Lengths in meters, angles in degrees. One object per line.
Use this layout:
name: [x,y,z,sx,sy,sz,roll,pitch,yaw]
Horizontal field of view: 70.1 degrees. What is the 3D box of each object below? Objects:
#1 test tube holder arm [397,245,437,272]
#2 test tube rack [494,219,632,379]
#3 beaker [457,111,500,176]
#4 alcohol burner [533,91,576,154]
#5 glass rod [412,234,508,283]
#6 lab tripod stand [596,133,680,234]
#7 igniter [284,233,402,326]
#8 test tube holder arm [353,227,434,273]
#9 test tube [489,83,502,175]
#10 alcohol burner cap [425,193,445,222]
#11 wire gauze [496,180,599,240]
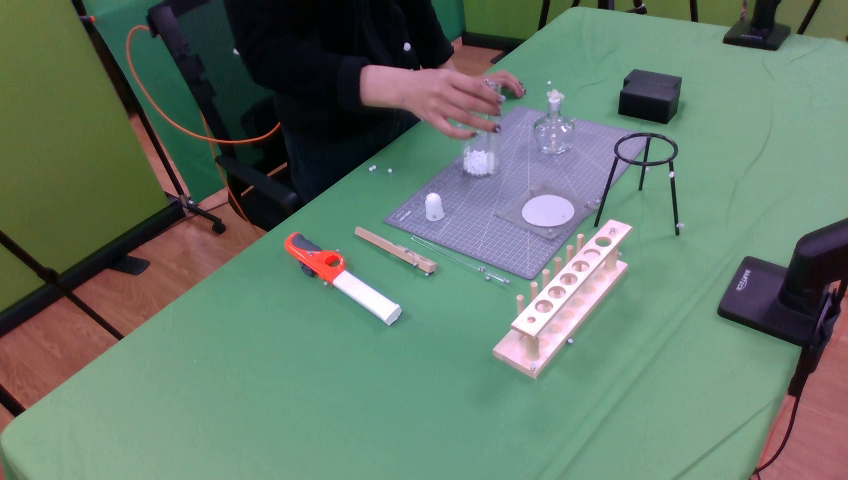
test tube holder arm: [-0.016,0.029,0.957,0.087,0.015,0.010,25,17,35]
test tube rack: [0.191,0.068,0.818,0.066,0.085,0.243,25,51,35]
beaker: [0.104,-0.175,1.108,0.073,0.101,0.084,16,45,27]
alcohol burner: [0.243,-0.222,1.124,0.078,0.119,0.077,-4,39,4]
glass rod: [0.052,0.027,0.951,0.198,0.008,0.008,26,52,37]
lab tripod stand: [0.338,-0.090,0.940,0.148,0.132,0.147,-7,39,6]
igniter: [-0.136,0.054,0.942,0.274,0.025,0.057,30,64,37]
test tube holder arm: [-0.053,0.014,0.979,0.177,0.015,0.013,25,17,35]
test tube: [0.103,-0.157,0.876,0.017,0.151,0.017,-2,42,2]
alcohol burner cap: [0.017,-0.058,1.029,0.034,0.048,0.033,-6,40,5]
wire gauze: [0.206,-0.050,1.012,0.125,0.011,0.120,-34,45,-26]
